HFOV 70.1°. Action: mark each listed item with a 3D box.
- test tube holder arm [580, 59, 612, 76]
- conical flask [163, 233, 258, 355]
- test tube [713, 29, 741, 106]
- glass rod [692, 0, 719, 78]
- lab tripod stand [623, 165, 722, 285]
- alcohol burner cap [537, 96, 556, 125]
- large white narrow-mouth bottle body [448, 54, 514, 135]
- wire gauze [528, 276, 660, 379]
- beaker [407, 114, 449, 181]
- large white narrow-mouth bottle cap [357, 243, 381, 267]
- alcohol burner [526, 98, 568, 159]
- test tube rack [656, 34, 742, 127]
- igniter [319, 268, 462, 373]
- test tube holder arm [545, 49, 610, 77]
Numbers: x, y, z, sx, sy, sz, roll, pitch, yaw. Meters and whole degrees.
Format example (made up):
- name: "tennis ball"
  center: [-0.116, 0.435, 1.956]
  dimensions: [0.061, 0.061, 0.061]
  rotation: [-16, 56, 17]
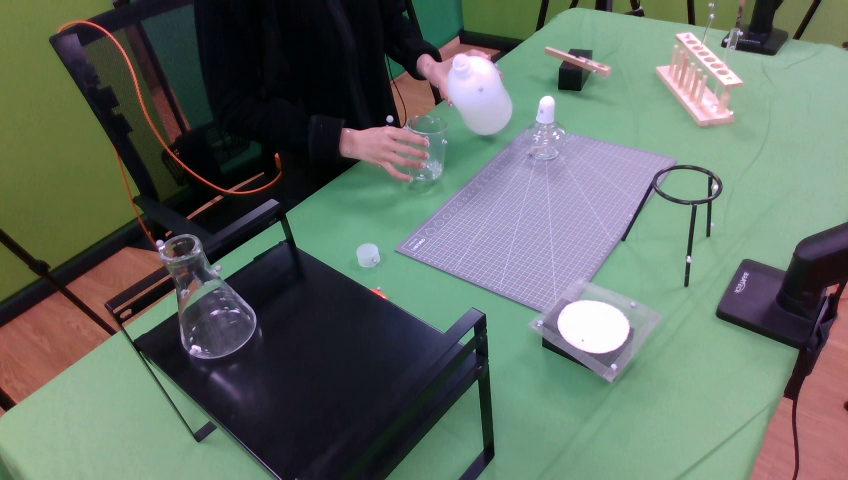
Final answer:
- name: "test tube holder arm"
  center: [0.363, -0.368, 1.289]
  dimensions: [0.010, 0.015, 0.087]
  rotation: [-27, 43, -29]
- name: "conical flask"
  center: [-0.217, 0.051, 0.601]
  dimensions: [0.075, 0.122, 0.075]
  rotation: [-4, 40, 4]
- name: "test tube"
  center: [0.572, -0.324, 1.146]
  dimensions: [0.017, 0.151, 0.017]
  rotation: [-3, 39, 3]
- name: "glass rod"
  center: [0.561, -0.401, 1.214]
  dimensions: [0.008, 0.200, 0.008]
  rotation: [-1, 48, 2]
- name: "lab tripod stand"
  center: [0.365, -0.030, 0.875]
  dimensions: [0.148, 0.132, 0.147]
  rotation: [-6, 41, 6]
- name: "alcohol burner cap"
  center: [0.223, -0.237, 1.095]
  dimensions: [0.034, 0.048, 0.033]
  rotation: [-1, 42, 1]
- name: "large white narrow-mouth bottle body"
  center: [0.100, -0.280, 1.124]
  dimensions: [0.101, 0.196, 0.101]
  rotation: [-6, 71, 19]
- name: "wire gauze"
  center: [0.214, 0.103, 0.763]
  dimensions: [0.124, 0.011, 0.122]
  rotation: [30, 52, 35]
- name: "beaker"
  center: [0.006, -0.165, 1.086]
  dimensions: [0.074, 0.100, 0.084]
  rotation: [12, 38, 10]
- name: "large white narrow-mouth bottle cap"
  center: [-0.088, 0.023, 0.972]
  dimensions: [0.038, 0.024, 0.037]
  rotation: [-4, 41, 4]
- name: "alcohol burner"
  center: [0.228, -0.210, 1.118]
  dimensions: [0.078, 0.119, 0.077]
  rotation: [-5, 43, 5]
- name: "test tube rack"
  center: [0.553, -0.330, 1.233]
  dimensions: [0.067, 0.085, 0.241]
  rotation: [-7, 40, 2]
- name: "igniter"
  center: [-0.059, 0.107, 0.862]
  dimensions: [0.274, 0.025, 0.057]
  rotation: [28, 62, 34]
- name: "test tube holder arm"
  center: [0.331, -0.387, 1.315]
  dimensions: [0.013, 0.015, 0.177]
  rotation: [-26, 43, -29]
